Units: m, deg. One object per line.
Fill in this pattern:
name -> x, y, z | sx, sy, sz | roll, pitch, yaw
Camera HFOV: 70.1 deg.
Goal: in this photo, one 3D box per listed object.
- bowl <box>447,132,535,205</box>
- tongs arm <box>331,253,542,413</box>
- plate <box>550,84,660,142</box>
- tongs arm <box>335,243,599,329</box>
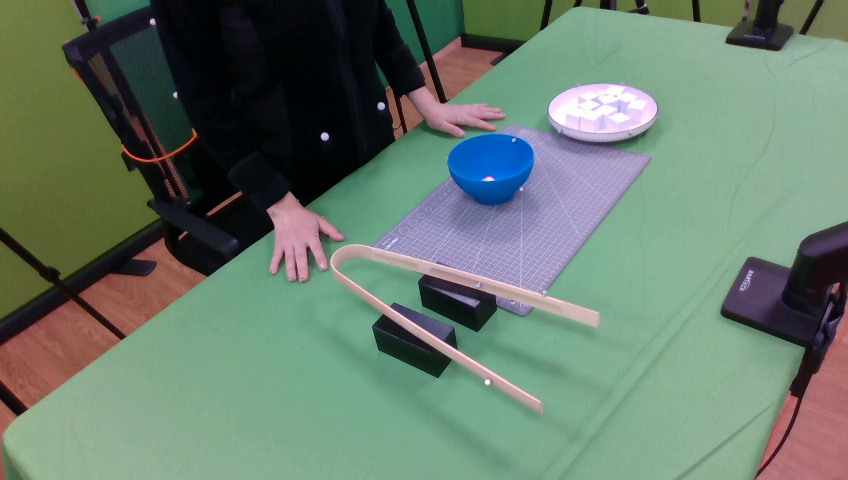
bowl -> 0.119, -0.114, 1.051 | 0.151, 0.077, 0.150 | -6, 40, 5
tongs arm -> -0.005, 0.109, 0.778 | 0.384, 0.028, 0.028 | 29, 58, 37
plate -> 0.355, -0.246, 1.195 | 0.207, 0.039, 0.206 | -5, 39, 5
tongs arm -> 0.043, 0.063, 0.824 | 0.382, 0.026, 0.051 | 17, 48, 28
